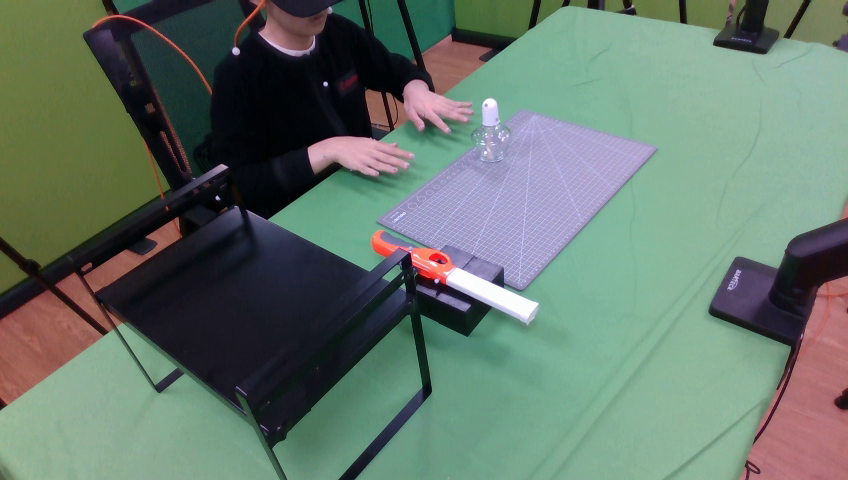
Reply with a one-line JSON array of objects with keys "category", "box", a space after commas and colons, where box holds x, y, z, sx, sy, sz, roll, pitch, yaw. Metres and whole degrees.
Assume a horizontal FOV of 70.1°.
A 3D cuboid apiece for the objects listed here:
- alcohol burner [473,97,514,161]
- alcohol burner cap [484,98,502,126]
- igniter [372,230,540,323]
[{"category": "alcohol burner", "box": [0.127, -0.208, 1.123, 0.078, 0.119, 0.077, -5, 39, 5]}, {"category": "alcohol burner cap", "box": [0.124, -0.235, 1.100, 0.034, 0.048, 0.033, -6, 38, 5]}, {"category": "igniter", "box": [0.032, 0.045, 0.842, 0.274, 0.025, 0.057, 24, 47, 28]}]
